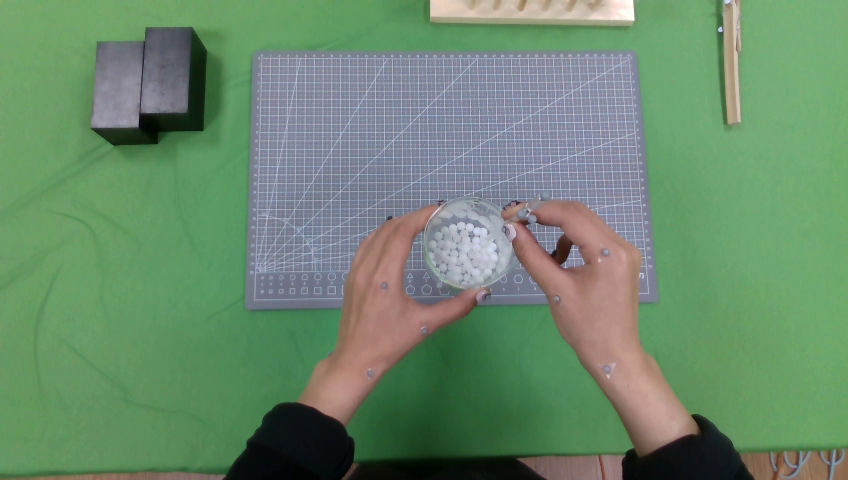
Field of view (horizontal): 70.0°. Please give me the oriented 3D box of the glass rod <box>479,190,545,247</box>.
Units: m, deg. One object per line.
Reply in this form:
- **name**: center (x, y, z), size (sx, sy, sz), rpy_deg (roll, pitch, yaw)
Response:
- **glass rod**: center (0.062, -0.011, 0.464), size (0.008, 0.200, 0.008), rpy_deg (1, 81, -5)

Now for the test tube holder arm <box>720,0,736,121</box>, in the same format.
- **test tube holder arm**: center (0.361, -0.227, 0.718), size (0.013, 0.015, 0.177), rpy_deg (11, 78, -30)

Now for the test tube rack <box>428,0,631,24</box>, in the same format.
- **test tube rack**: center (0.127, -0.302, 0.692), size (0.242, 0.085, 0.066), rpy_deg (0, 79, -2)

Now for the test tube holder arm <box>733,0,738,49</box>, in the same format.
- **test tube holder arm**: center (0.369, -0.270, 0.728), size (0.010, 0.015, 0.087), rpy_deg (11, 78, -30)

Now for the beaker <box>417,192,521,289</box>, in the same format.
- **beaker**: center (0.036, 0.006, 0.520), size (0.084, 0.100, 0.074), rpy_deg (18, 83, 1)
